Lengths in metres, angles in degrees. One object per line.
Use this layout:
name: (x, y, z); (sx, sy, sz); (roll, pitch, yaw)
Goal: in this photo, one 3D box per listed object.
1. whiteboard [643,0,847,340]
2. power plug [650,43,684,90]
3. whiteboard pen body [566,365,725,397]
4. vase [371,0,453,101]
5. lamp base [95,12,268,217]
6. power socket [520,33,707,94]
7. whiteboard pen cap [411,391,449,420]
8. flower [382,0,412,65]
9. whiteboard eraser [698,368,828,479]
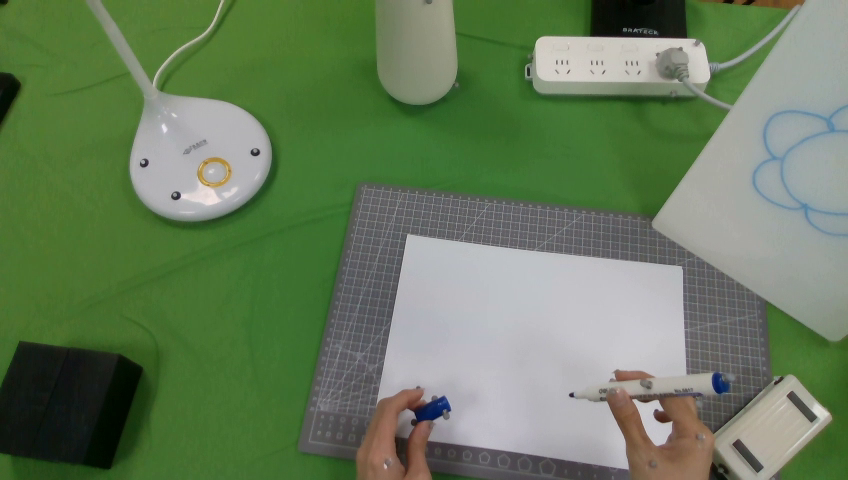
whiteboard: (0.398, -0.091, 0.572); (0.216, 0.307, 0.143); (36, 50, 17)
power plug: (0.283, -0.199, 0.714); (0.035, 0.053, 0.072); (11, 72, 6)
whiteboard pen body: (0.166, 0.113, 0.475); (0.017, 0.140, 0.017); (13, 67, -34)
vase: (-0.016, -0.246, 0.672); (0.098, 0.201, 0.097); (-1, 65, 2)
lamp base: (-0.273, -0.138, 0.636); (0.178, 0.181, 0.160); (38, 71, 20)
power socket: (0.234, -0.218, 0.747); (0.227, 0.033, 0.071); (2, 66, 1)
whiteboard pen cap: (0.007, 0.150, 0.549); (0.033, 0.018, 0.018); (-21, 66, -1)
flower: (0.000, -0.271, 0.594); (0.044, 0.362, 0.038); (-34, 86, -23)
whiteboard eraser: (0.311, 0.173, 0.560); (0.112, 0.042, 0.055); (-34, 68, -14)
